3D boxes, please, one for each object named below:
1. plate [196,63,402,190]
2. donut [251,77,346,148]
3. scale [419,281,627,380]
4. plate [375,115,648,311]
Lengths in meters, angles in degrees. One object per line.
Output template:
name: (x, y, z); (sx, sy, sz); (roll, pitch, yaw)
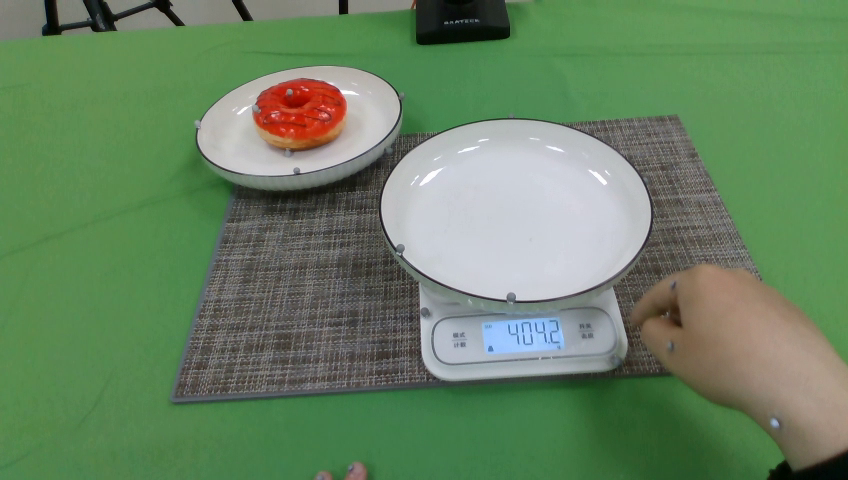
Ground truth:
plate: (-0.125, -0.117, 0.627); (0.209, 0.038, 0.207); (-3, 44, 3)
donut: (-0.128, -0.132, 0.628); (0.099, 0.049, 0.098); (-2, 44, 2)
scale: (0.069, 0.016, 0.487); (0.148, 0.032, 0.199); (-4, 47, 2)
plate: (0.066, -0.023, 0.479); (0.207, 0.039, 0.205); (-2, 47, 2)
